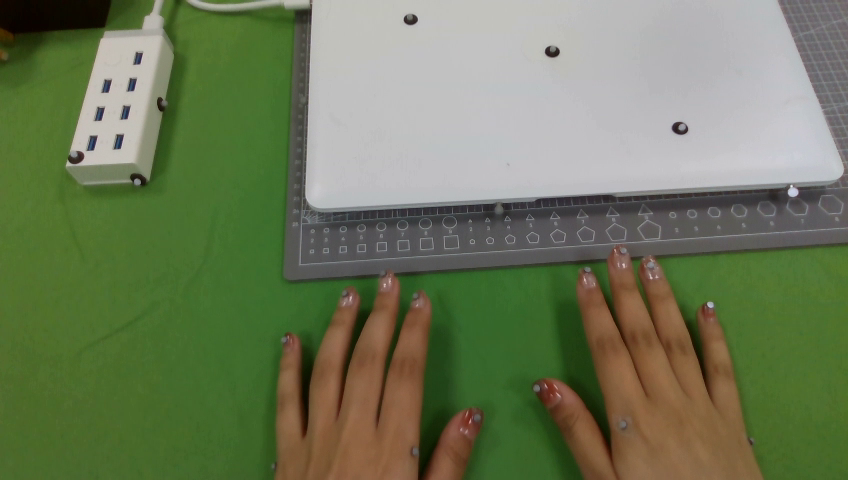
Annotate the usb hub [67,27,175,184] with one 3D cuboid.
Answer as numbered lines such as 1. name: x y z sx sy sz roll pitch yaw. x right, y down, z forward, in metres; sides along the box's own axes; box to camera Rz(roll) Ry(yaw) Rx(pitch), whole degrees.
1. usb hub: -0.216 -0.099 0.437 0.049 0.025 0.124 -3 63 1

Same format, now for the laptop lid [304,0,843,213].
1. laptop lid: 0.092 -0.132 0.437 0.357 0.013 0.239 -2 65 1

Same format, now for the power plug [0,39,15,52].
1. power plug: -0.352 -0.152 0.460 0.072 0.053 0.035 -6 65 34

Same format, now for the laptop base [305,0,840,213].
1. laptop base: 0.093 -0.129 0.448 0.354 0.023 0.233 -3 66 0
